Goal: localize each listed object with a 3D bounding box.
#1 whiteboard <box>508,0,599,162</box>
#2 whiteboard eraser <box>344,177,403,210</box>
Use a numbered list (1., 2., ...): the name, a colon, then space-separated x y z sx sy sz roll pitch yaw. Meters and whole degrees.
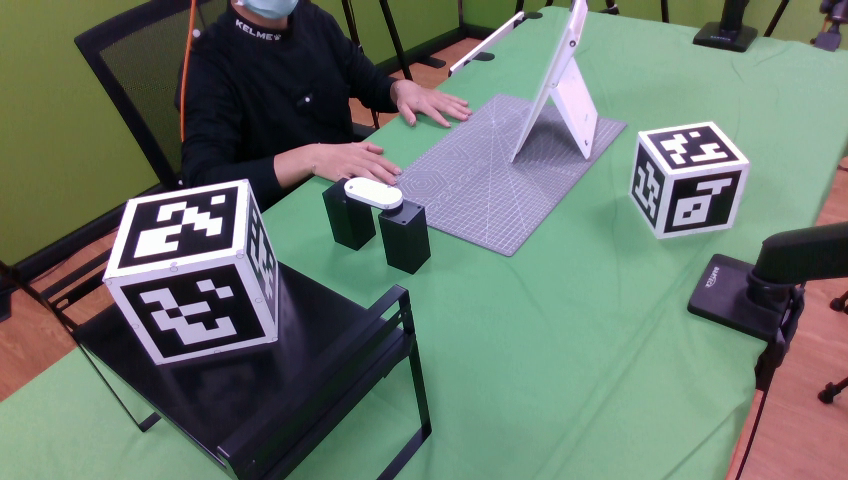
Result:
1. whiteboard: 0.285 -0.289 1.090 0.144 0.305 0.217 22 45 3
2. whiteboard eraser: -0.077 -0.071 0.911 0.100 0.019 0.041 20 50 29
